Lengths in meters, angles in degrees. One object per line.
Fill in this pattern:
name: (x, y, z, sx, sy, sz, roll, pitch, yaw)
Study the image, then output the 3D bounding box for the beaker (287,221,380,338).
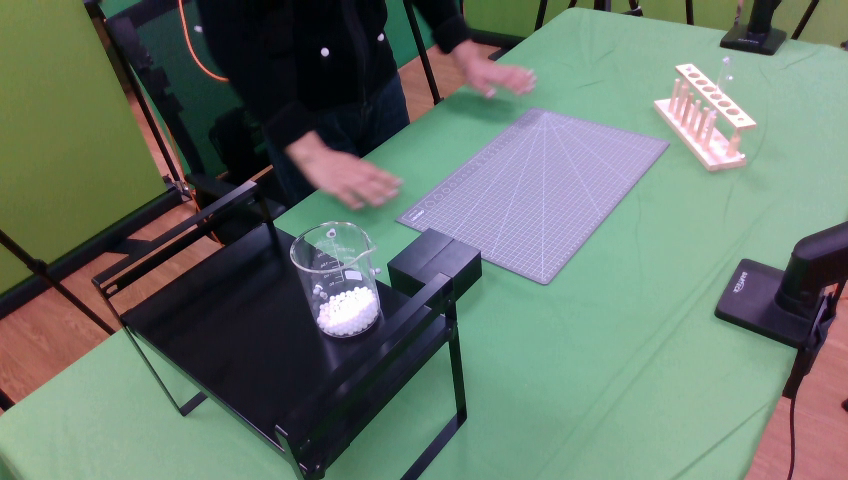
beaker: (-0.083, 0.042, 0.602, 0.084, 0.101, 0.073, -5, 41, 3)

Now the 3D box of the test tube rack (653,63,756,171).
test tube rack: (0.510, -0.233, 1.120, 0.067, 0.085, 0.241, -9, 41, -1)

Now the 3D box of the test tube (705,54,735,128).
test tube: (0.523, -0.260, 1.073, 0.017, 0.151, 0.017, -3, 47, 4)
